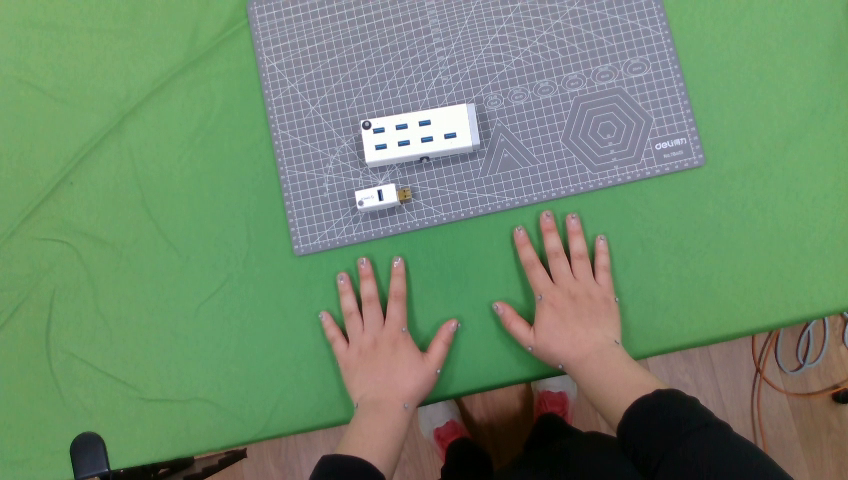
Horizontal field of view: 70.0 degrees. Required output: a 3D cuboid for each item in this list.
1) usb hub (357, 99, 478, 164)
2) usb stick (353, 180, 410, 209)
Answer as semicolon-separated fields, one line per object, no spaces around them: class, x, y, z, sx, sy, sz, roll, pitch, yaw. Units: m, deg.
usb hub;-0.007;-0.117;0.653;0.125;0.025;0.049;-9;83;4
usb stick;-0.045;-0.050;0.649;0.059;0.027;0.021;-11;84;1
